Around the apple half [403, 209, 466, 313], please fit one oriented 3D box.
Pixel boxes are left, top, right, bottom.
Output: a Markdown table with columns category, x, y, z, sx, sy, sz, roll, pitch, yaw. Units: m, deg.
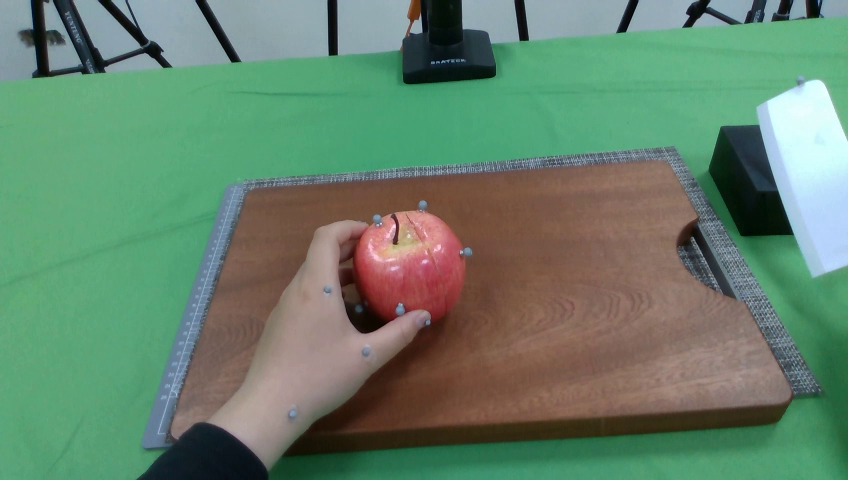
| category | x | y | z | sx | sy | sz | roll | pitch | yaw |
| --- | --- | --- | --- | --- | --- | --- | --- | --- | --- |
| apple half | 0.012 | 0.012 | 0.439 | 0.033 | 0.082 | 0.080 | -23 | 45 | -10 |

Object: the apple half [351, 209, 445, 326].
| category | x | y | z | sx | sy | sz | roll | pitch | yaw |
| --- | --- | --- | --- | --- | --- | --- | --- | --- | --- |
| apple half | -0.023 | 0.025 | 0.430 | 0.053 | 0.075 | 0.080 | -22 | 50 | -11 |

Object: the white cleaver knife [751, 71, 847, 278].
| category | x | y | z | sx | sy | sz | roll | pitch | yaw |
| --- | --- | --- | --- | --- | --- | --- | --- | --- | --- |
| white cleaver knife | 0.312 | -0.007 | 0.450 | 0.022 | 0.066 | 0.284 | 14 | 57 | -27 |
